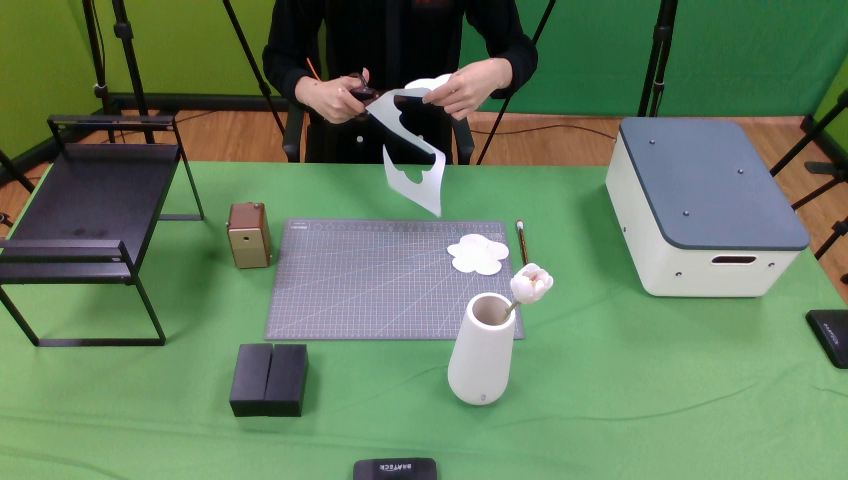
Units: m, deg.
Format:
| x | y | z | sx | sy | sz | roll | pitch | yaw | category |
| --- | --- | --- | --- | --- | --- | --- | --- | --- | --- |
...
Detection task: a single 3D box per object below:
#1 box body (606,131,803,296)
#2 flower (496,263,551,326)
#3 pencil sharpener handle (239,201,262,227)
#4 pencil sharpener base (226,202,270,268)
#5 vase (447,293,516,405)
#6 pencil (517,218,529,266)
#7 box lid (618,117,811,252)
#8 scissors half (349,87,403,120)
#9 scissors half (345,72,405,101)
| x | y | z | sx | sy | sz | roll | pitch | yaw | category |
| --- | --- | --- | --- | --- | --- | --- | --- | --- | --- |
| 0.530 | -0.067 | 1.204 | 0.254 | 0.161 | 0.361 | 1 | 46 | -4 | box body |
| 0.102 | 0.120 | 0.853 | 0.044 | 0.363 | 0.038 | -2 | 64 | -10 | flower |
| -0.325 | -0.055 | 1.150 | 0.036 | 0.068 | 0.030 | -13 | 46 | 4 | pencil sharpener handle |
| -0.323 | -0.010 | 1.123 | 0.061 | 0.107 | 0.076 | -3 | 46 | -7 | pencil sharpener base |
| 0.091 | 0.169 | 0.921 | 0.098 | 0.201 | 0.097 | 3 | 47 | -3 | vase |
| 0.200 | 0.028 | 1.196 | 0.012 | 0.012 | 0.193 | 1 | 48 | -3 | pencil |
| 0.534 | -0.117 | 1.149 | 0.263 | 0.015 | 0.369 | 0 | 47 | -3 | box lid |
| -0.087 | -0.249 | 1.091 | 0.013 | 0.040 | 0.175 | -20 | 6 | -35 | scissors half |
| -0.090 | -0.271 | 1.084 | 0.013 | 0.040 | 0.174 | -25 | 38 | -33 | scissors half |
